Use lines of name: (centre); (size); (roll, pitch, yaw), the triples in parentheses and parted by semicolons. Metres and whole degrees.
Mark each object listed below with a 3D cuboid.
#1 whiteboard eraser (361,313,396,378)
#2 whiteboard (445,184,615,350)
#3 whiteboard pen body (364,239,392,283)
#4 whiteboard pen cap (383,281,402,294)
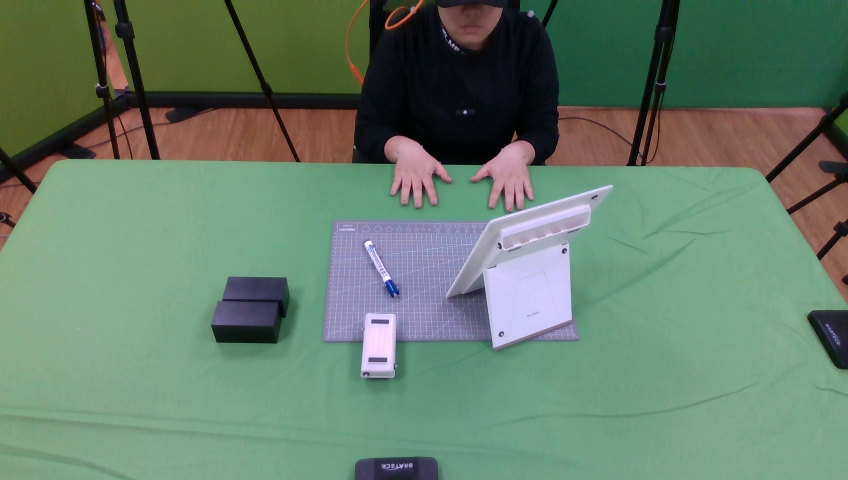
whiteboard eraser: (-0.075, 0.176, 1.006); (0.055, 0.042, 0.112); (2, 49, -4)
whiteboard: (0.186, 0.065, 0.990); (0.217, 0.306, 0.143); (-15, 68, -18)
whiteboard pen body: (-0.084, 0.048, 1.143); (0.017, 0.017, 0.140); (-16, 49, -19)
whiteboard pen cap: (-0.057, 0.088, 1.104); (0.033, 0.018, 0.018); (18, 48, 11)
